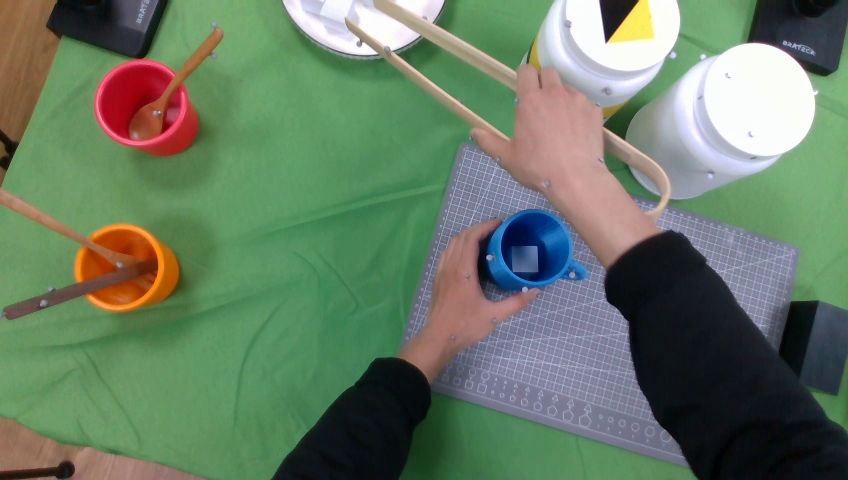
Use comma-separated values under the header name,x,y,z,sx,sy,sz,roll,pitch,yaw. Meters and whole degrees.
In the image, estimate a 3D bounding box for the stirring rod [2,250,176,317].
name,x,y,z,sx,sy,sz,roll,pitch,yaw
stirring rod,-0.339,0.042,0.628,0.176,0.006,0.014,-25,89,-49

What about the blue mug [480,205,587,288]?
name,x,y,z,sx,sy,sz,roll,pitch,yaw
blue mug,0.127,0.017,0.684,0.116,0.106,0.082,23,82,-2

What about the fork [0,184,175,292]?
name,x,y,z,sx,sy,sz,roll,pitch,yaw
fork,-0.350,-0.001,0.626,0.028,0.018,0.209,-56,133,-9

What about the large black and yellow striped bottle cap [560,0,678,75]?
name,x,y,z,sx,sy,sz,roll,pitch,yaw
large black and yellow striped bottle cap,0.191,-0.220,0.593,0.115,0.019,0.114,1,85,-5

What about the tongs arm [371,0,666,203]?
name,x,y,z,sx,sy,sz,roll,pitch,yaw
tongs arm,0.077,-0.155,0.603,0.384,0.028,0.028,39,71,22

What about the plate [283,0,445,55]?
name,x,y,z,sx,sy,sz,roll,pitch,yaw
plate,-0.073,-0.322,0.739,0.208,0.039,0.207,1,84,-5

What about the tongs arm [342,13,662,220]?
name,x,y,z,sx,sy,sz,roll,pitch,yaw
tongs arm,0.058,-0.136,0.596,0.051,0.027,0.381,-42,67,-13

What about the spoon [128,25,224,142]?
name,x,y,z,sx,sy,sz,roll,pitch,yaw
spoon,-0.270,-0.166,0.653,0.193,0.022,0.041,-32,82,36

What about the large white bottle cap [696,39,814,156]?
name,x,y,z,sx,sy,sz,roll,pitch,yaw
large white bottle cap,0.325,-0.140,0.594,0.115,0.018,0.114,1,83,-5

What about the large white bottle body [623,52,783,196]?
name,x,y,z,sx,sy,sz,roll,pitch,yaw
large white bottle body,0.319,-0.129,0.678,0.131,0.185,0.130,1,84,-4

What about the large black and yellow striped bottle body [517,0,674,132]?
name,x,y,z,sx,sy,sz,roll,pitch,yaw
large black and yellow striped bottle body,0.185,-0.208,0.675,0.131,0.184,0.130,1,83,-4
